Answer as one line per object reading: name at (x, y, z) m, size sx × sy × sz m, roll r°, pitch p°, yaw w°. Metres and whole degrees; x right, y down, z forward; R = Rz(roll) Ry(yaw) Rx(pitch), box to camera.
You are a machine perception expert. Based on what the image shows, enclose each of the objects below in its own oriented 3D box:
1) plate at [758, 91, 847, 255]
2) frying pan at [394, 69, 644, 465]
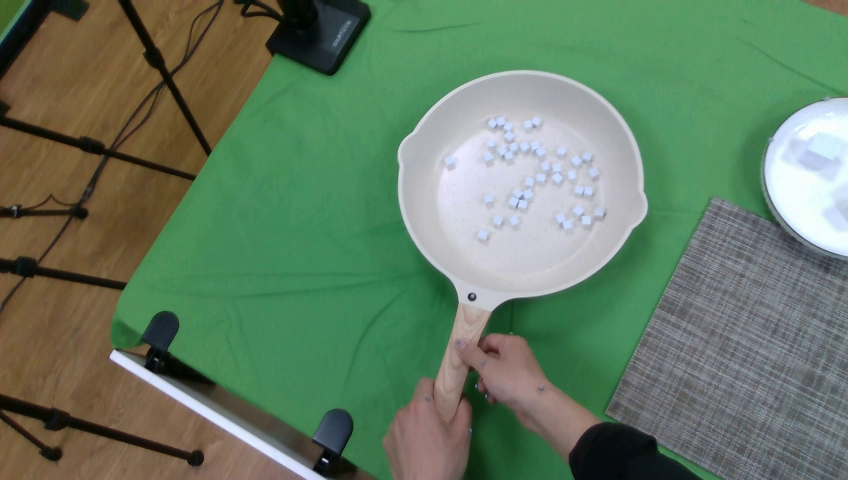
plate at (0.506, -0.077, 0.723) m, size 0.207 × 0.039 × 0.206 m, roll -2°, pitch 74°, yaw 7°
frying pan at (0.076, 0.021, 0.718) m, size 0.306 × 0.103 × 0.485 m, roll 17°, pitch 69°, yaw 13°
